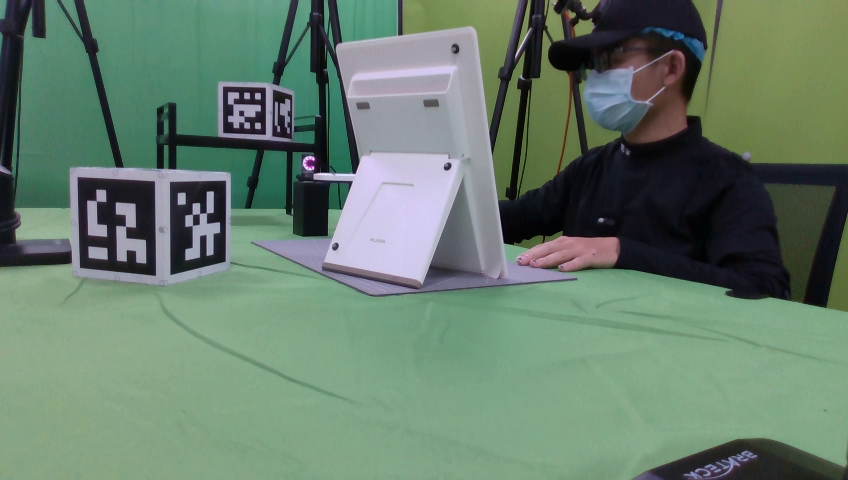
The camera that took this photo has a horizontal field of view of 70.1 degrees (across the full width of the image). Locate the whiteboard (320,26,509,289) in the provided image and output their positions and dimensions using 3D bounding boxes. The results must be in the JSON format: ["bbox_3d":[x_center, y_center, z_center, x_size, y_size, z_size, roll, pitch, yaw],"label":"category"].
[{"bbox_3d":[-0.045,-0.076,0.721,0.216,0.305,0.144,9,29,39],"label":"whiteboard"}]

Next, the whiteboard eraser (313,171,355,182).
[{"bbox_3d":[-0.166,-0.122,1.165,0.102,0.019,0.041,-2,7,-34],"label":"whiteboard eraser"}]
